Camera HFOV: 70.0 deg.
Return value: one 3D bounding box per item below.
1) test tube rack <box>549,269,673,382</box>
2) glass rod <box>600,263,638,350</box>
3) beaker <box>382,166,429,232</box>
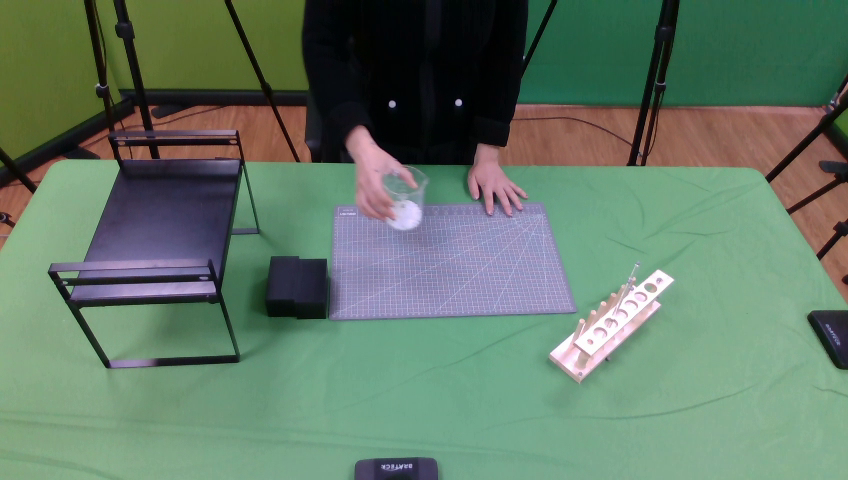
[{"bbox_3d":[0.325,0.134,1.047,0.242,0.085,0.066,-32,56,-30],"label":"test tube rack"},{"bbox_3d":[0.311,0.112,0.976,0.008,0.200,0.008,4,40,-3],"label":"glass rod"},{"bbox_3d":[-0.032,-0.071,1.076,0.084,0.101,0.073,-12,51,-13],"label":"beaker"}]
